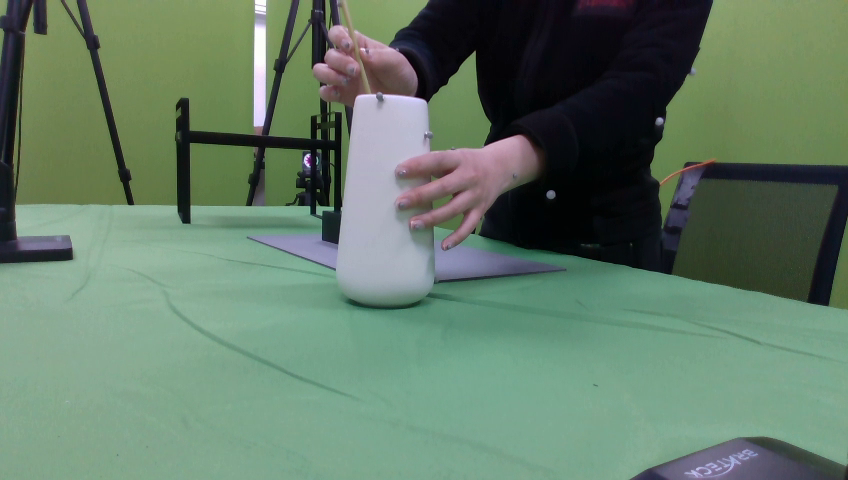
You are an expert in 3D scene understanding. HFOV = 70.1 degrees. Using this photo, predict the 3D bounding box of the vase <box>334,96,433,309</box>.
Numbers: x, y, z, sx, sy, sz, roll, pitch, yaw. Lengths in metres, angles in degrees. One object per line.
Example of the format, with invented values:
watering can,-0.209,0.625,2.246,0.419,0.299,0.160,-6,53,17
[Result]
vase,-0.039,-0.036,0.589,0.098,0.200,0.098,1,8,0

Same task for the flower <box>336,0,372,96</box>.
flower,-0.064,-0.169,0.589,0.044,0.361,0.038,-16,-3,-20
